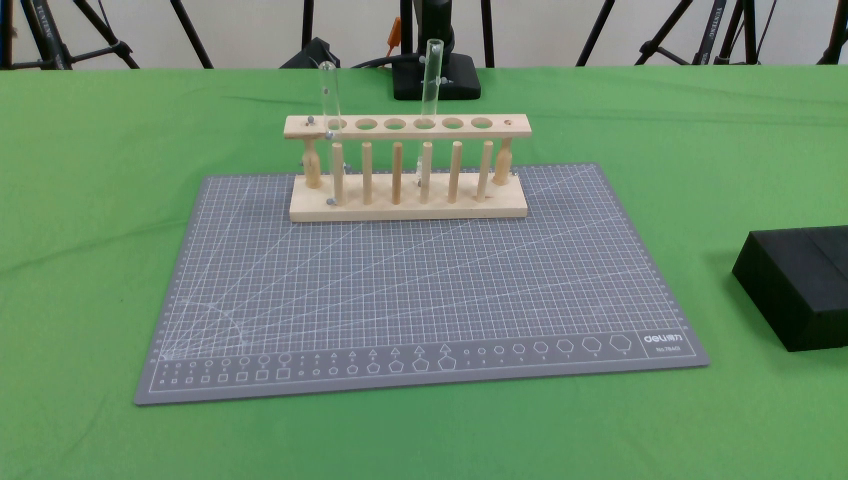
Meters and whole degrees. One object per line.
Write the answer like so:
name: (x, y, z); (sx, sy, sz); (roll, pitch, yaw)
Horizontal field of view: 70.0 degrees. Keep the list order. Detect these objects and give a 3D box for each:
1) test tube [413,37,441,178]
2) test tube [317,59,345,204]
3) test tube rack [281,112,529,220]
test tube: (0.002, -0.126, 0.599); (0.017, 0.151, 0.017); (4, 39, -3)
test tube: (-0.087, -0.097, 0.570); (0.017, 0.152, 0.017); (1, 40, -1)
test tube rack: (-0.018, -0.076, 0.617); (0.243, 0.086, 0.066); (-1, 41, -4)
